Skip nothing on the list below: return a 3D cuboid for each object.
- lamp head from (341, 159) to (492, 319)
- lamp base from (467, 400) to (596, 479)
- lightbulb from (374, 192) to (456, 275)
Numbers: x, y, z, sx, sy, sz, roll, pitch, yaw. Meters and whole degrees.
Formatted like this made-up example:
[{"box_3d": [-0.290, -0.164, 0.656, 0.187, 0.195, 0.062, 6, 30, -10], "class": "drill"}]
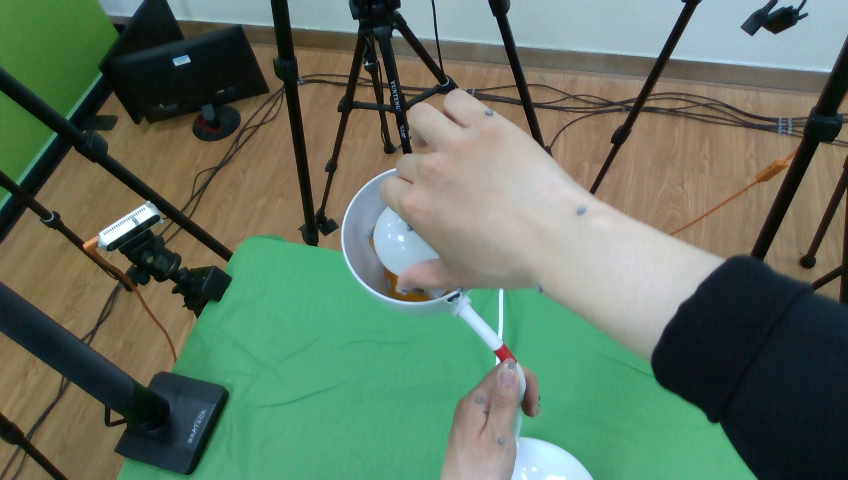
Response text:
[{"box_3d": [0.000, 0.013, 0.490, 0.112, 0.124, 0.111, -3, 65, 6], "class": "lamp head"}, {"box_3d": [0.112, 0.255, 0.650, 0.161, 0.182, 0.177, -24, 55, -9], "class": "lamp base"}, {"box_3d": [-0.006, 0.002, 0.460, 0.059, 0.108, 0.059, -1, 74, 2], "class": "lightbulb"}]
